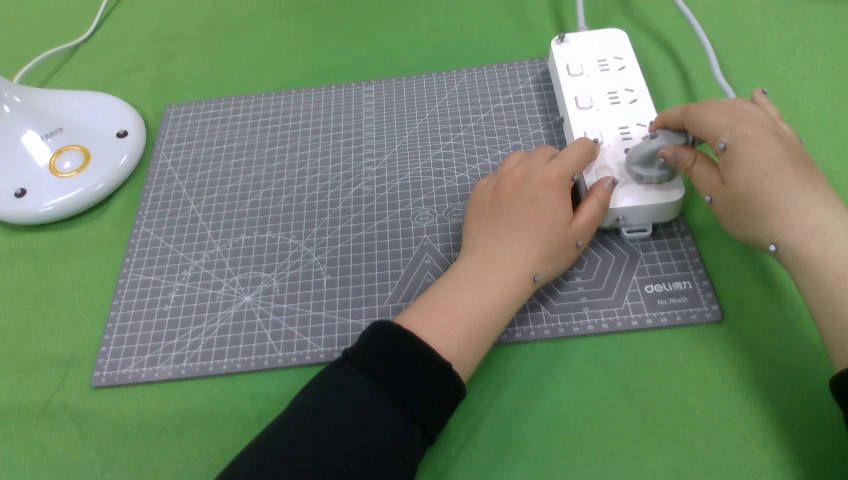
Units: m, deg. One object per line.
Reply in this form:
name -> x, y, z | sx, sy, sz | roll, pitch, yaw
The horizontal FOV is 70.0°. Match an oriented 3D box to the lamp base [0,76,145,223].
lamp base -> -0.361, -0.131, 0.511 | 0.178, 0.182, 0.160 | 27, 62, 27

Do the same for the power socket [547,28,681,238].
power socket -> 0.154, -0.102, 0.511 | 0.072, 0.033, 0.224 | -4, 54, 3

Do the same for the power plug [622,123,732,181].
power plug -> 0.184, -0.058, 0.446 | 0.072, 0.053, 0.035 | 4, 54, 12
